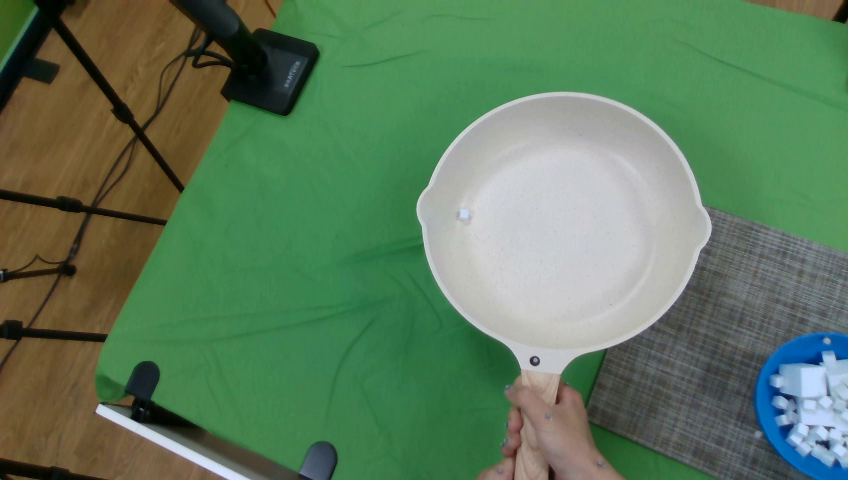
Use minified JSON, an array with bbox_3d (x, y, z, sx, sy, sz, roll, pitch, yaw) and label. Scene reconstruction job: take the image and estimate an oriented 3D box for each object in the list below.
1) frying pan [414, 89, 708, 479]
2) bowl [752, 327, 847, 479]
[{"bbox_3d":[0.126,0.074,0.635,0.306,0.103,0.485,6,68,13],"label":"frying pan"},{"bbox_3d":[0.417,0.172,0.639,0.151,0.077,0.150,-3,73,9],"label":"bowl"}]
